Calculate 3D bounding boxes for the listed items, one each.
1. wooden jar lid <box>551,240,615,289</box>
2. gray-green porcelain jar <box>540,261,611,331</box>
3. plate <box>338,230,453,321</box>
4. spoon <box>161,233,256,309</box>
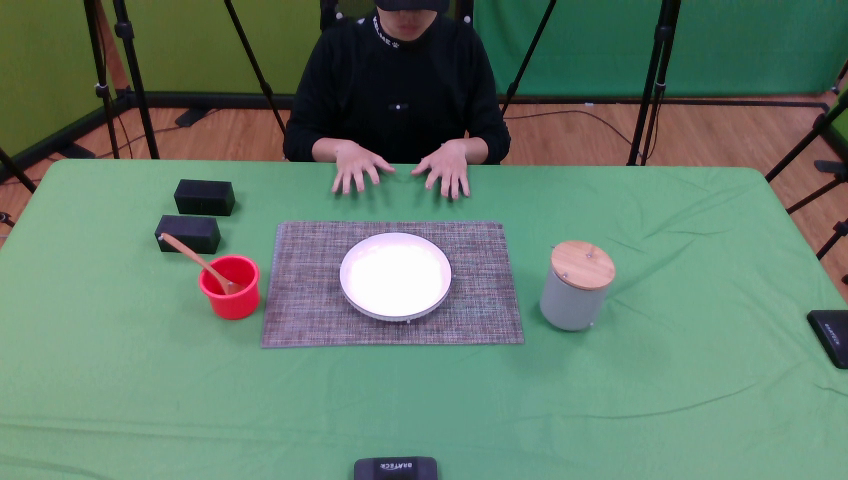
[{"bbox_3d":[0.263,0.044,1.011,0.108,0.021,0.107,4,45,-4],"label":"wooden jar lid"},{"bbox_3d":[0.262,0.088,1.058,0.106,0.127,0.105,2,46,-2],"label":"gray-green porcelain jar"},{"bbox_3d":[-0.051,0.068,1.111,0.208,0.039,0.206,2,46,-2],"label":"plate"},{"bbox_3d":[-0.366,0.051,1.036,0.194,0.021,0.041,47,45,-21],"label":"spoon"}]
